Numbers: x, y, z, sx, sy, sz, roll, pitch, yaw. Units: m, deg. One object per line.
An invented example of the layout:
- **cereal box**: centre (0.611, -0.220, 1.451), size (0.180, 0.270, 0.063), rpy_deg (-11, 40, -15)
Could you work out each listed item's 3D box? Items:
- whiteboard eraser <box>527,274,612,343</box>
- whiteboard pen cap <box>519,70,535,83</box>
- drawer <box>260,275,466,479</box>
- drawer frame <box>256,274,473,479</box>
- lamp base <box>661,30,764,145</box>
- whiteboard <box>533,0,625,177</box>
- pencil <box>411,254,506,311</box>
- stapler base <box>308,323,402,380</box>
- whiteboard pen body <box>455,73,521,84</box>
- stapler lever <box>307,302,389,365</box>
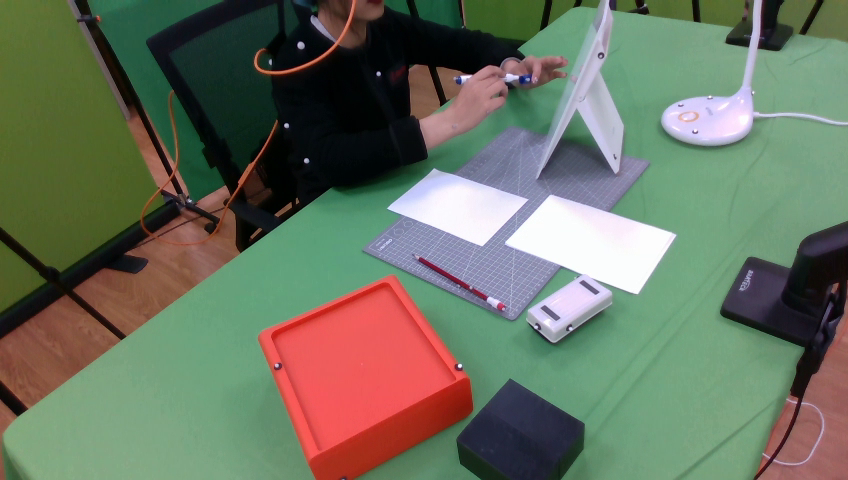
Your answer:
- **whiteboard eraser**: centre (0.198, 0.094, 0.820), size (0.113, 0.042, 0.055), rpy_deg (-29, 43, -22)
- **whiteboard pen cap**: centre (0.200, -0.318, 1.178), size (0.033, 0.018, 0.018), rpy_deg (-31, 45, -25)
- **drawer**: centre (-0.080, 0.162, 0.760), size (0.195, 0.073, 0.210), rpy_deg (-22, 42, -16)
- **drawer frame**: centre (-0.078, 0.163, 0.756), size (0.202, 0.083, 0.211), rpy_deg (-23, 43, -17)
- **lamp base**: centre (0.535, -0.287, 1.096), size (0.179, 0.181, 0.159), rpy_deg (-10, 40, -4)
- **whiteboard**: centre (0.321, -0.258, 1.049), size (0.144, 0.306, 0.217), rpy_deg (20, 45, 4)
- **pencil**: centre (0.047, 0.060, 0.906), size (0.012, 0.012, 0.192), rpy_deg (-37, 46, -29)
- **stapler base**: centre (-0.094, 0.142, 0.812), size (0.131, 0.024, 0.041), rpy_deg (-25, 29, -17)
- **whiteboard pen body**: centre (0.123, -0.306, 1.139), size (0.141, 0.017, 0.017), rpy_deg (-9, 38, -24)
- **stapler lever**: centre (-0.101, 0.121, 0.799), size (0.118, 0.040, 0.026), rpy_deg (-25, 29, -17)
